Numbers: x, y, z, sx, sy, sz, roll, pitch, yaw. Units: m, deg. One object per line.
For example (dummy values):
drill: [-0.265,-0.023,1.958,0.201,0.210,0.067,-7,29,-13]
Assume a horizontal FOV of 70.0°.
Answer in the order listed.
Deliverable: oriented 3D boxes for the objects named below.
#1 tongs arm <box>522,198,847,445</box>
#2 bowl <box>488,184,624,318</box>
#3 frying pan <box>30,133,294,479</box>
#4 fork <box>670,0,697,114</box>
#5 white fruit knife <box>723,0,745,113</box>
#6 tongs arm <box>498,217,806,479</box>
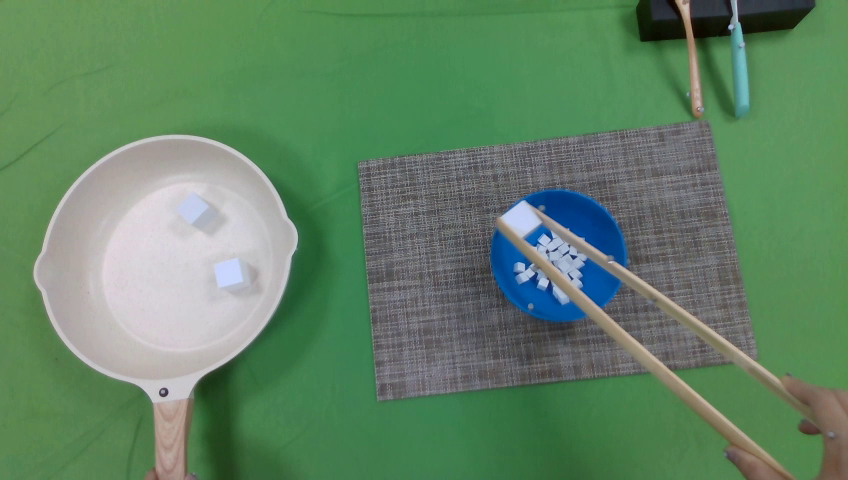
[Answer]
tongs arm: [0.213,0.074,0.533,0.051,0.027,0.381,-42,54,-13]
bowl: [0.147,0.018,0.704,0.151,0.077,0.150,0,79,2]
frying pan: [-0.287,0.117,0.689,0.307,0.103,0.484,-8,70,1]
fork: [0.320,-0.260,0.752,0.028,0.018,0.208,-14,99,-5]
white fruit knife: [0.379,-0.263,0.750,0.016,0.027,0.207,-8,95,7]
tongs arm: [0.194,0.089,0.529,0.028,0.028,0.383,-36,53,-13]
